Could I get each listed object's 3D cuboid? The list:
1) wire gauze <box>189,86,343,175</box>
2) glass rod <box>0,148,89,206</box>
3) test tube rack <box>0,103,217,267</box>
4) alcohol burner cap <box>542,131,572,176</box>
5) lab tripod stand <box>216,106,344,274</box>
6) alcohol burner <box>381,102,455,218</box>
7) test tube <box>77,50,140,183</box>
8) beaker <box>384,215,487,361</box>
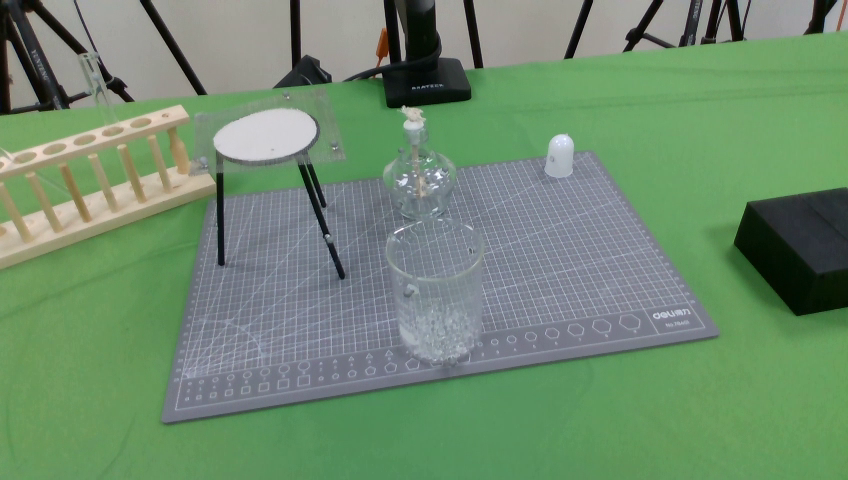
[{"bbox_3d":[-0.139,-0.095,0.523,0.125,0.011,0.120,-12,41,-9],"label":"wire gauze"},{"bbox_3d":[-0.418,-0.087,0.594,0.008,0.202,0.008,-17,52,23],"label":"glass rod"},{"bbox_3d":[-0.358,-0.061,0.645,0.243,0.086,0.066,-24,44,-23],"label":"test tube rack"},{"bbox_3d":[0.151,-0.100,0.682,0.034,0.048,0.033,-2,40,2],"label":"alcohol burner cap"},{"bbox_3d":[-0.135,-0.044,0.567,0.148,0.133,0.147,-2,42,3],"label":"lab tripod stand"},{"bbox_3d":[-0.008,-0.083,0.619,0.078,0.120,0.077,-3,39,3],"label":"alcohol burner"},{"bbox_3d":[-0.333,-0.126,0.643,0.017,0.151,0.017,-2,37,2],"label":"test tube"},{"bbox_3d":[0.008,0.040,0.483,0.083,0.101,0.074,24,47,30],"label":"beaker"}]
